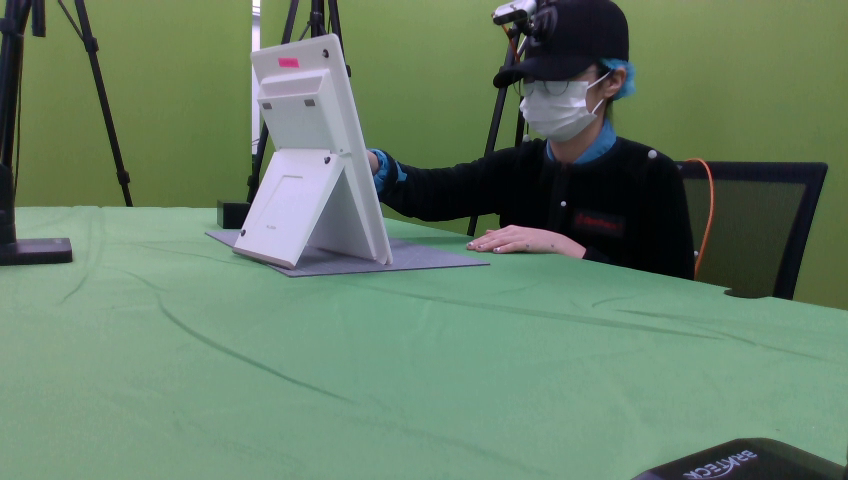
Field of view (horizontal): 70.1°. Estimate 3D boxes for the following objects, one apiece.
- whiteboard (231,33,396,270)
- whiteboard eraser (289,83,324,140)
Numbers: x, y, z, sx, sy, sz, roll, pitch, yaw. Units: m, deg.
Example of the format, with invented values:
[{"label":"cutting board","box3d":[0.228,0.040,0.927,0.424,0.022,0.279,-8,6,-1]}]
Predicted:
[{"label":"whiteboard","box3d":[-0.193,-0.094,0.805,0.144,0.305,0.216,-29,25,-35]},{"label":"whiteboard eraser","box3d":[-0.165,-0.178,0.845,0.019,0.041,0.101,-28,-13,-35]}]
